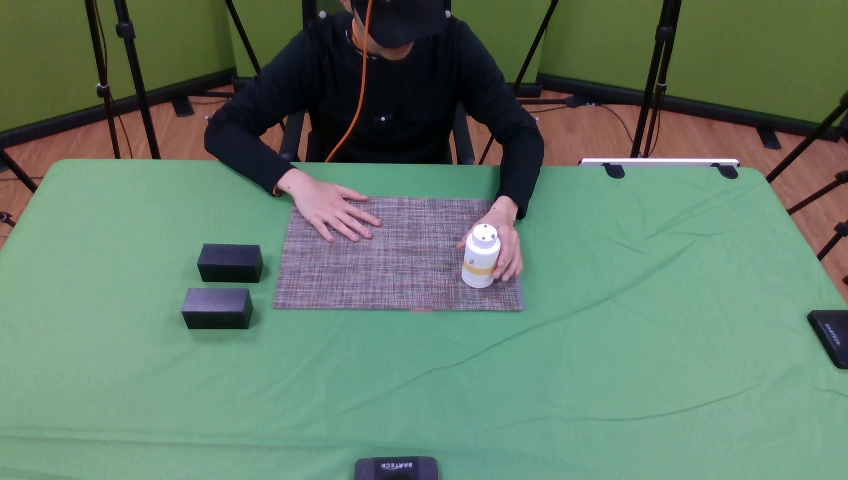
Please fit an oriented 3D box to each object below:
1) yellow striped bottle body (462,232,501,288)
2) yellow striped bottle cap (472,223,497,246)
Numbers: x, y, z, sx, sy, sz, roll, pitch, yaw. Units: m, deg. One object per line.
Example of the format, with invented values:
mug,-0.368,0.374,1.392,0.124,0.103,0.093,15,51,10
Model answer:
yellow striped bottle body,0.105,0.026,1.105,0.063,0.121,0.062,2,46,-2
yellow striped bottle cap,0.107,-0.010,1.068,0.044,0.019,0.044,3,47,-3
